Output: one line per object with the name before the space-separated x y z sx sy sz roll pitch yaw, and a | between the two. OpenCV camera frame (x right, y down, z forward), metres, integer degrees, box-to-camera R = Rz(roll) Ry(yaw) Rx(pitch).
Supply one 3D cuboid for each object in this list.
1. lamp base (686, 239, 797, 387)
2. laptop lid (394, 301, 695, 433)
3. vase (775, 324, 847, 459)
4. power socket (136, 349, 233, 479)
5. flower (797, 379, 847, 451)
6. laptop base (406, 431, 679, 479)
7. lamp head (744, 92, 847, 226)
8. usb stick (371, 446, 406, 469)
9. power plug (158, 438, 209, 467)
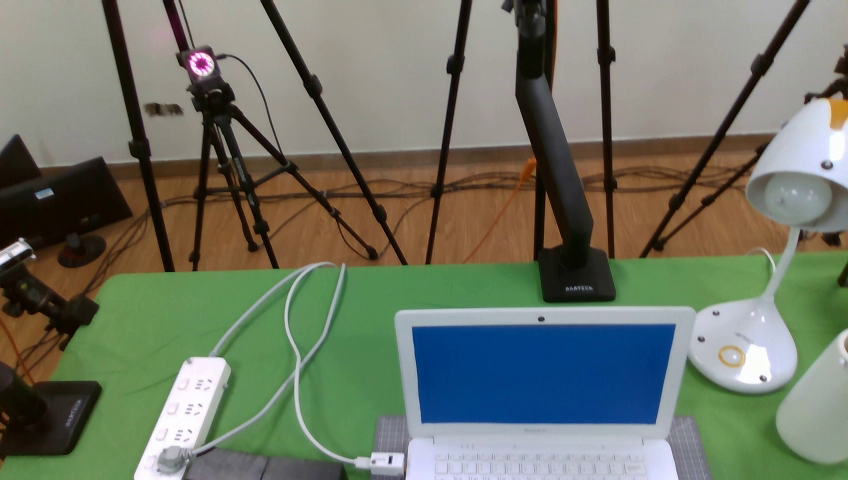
lamp base | 0.477 0.091 0.871 0.159 0.182 0.179 25 50 28
laptop lid | 0.145 0.170 0.772 0.356 0.244 0.013 -3 34 5
vase | 0.513 0.188 0.754 0.098 0.202 0.097 -4 43 4
power socket | -0.348 0.257 0.894 0.072 0.033 0.224 1 44 6
flower | 0.523 0.124 0.700 0.038 0.364 0.043 1 33 -17
laptop base | 0.148 0.351 0.756 0.354 0.023 0.233 -1 48 5
lamp head | 0.411 -0.089 0.631 0.111 0.113 0.122 22 69 26
usb stick | -0.041 0.294 0.816 0.059 0.027 0.021 3 43 4
power plug | -0.327 0.295 0.825 0.072 0.053 0.035 9 47 12
